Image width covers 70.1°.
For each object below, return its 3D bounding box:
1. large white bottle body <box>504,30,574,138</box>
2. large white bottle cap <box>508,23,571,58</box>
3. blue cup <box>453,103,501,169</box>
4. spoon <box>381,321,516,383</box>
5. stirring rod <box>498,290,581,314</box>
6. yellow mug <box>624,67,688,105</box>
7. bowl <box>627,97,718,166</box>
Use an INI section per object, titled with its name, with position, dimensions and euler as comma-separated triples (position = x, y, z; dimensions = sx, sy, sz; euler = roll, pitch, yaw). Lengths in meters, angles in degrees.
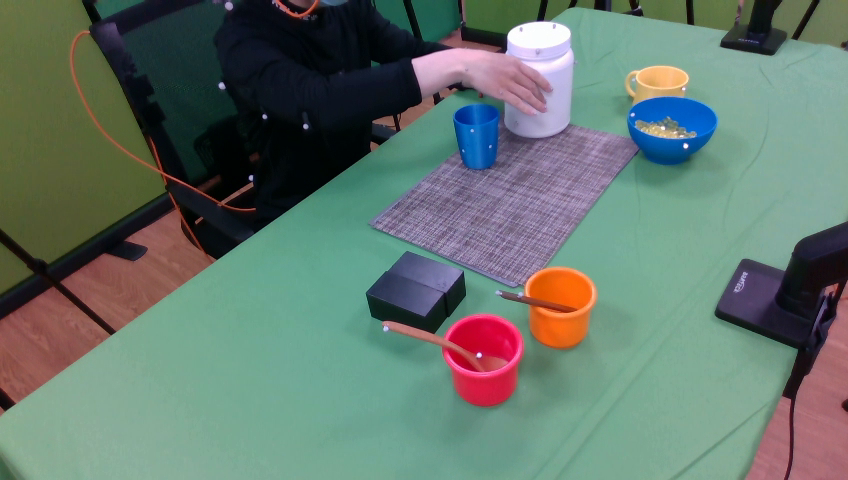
[large white bottle body]
position = 0.220, -0.307, 1.169
dimensions = 0.130, 0.185, 0.130
euler = -4, 42, 4
[large white bottle cap]
position = 0.212, -0.369, 1.112
dimensions = 0.115, 0.018, 0.114
euler = -3, 42, 4
[blue cup]
position = 0.099, -0.188, 1.114
dimensions = 0.092, 0.100, 0.092
euler = -4, 39, 4
[spoon]
position = 0.033, 0.131, 0.725
dimensions = 0.195, 0.021, 0.041
euler = 29, 30, -26
[stirring rod]
position = 0.152, 0.081, 0.772
dimensions = 0.178, 0.006, 0.014
euler = 15, 19, -44
[yellow mug]
position = 0.464, -0.306, 1.230
dimensions = 0.100, 0.064, 0.129
euler = -34, 46, -27
[bowl]
position = 0.439, -0.187, 1.087
dimensions = 0.151, 0.077, 0.150
euler = -4, 41, 4
